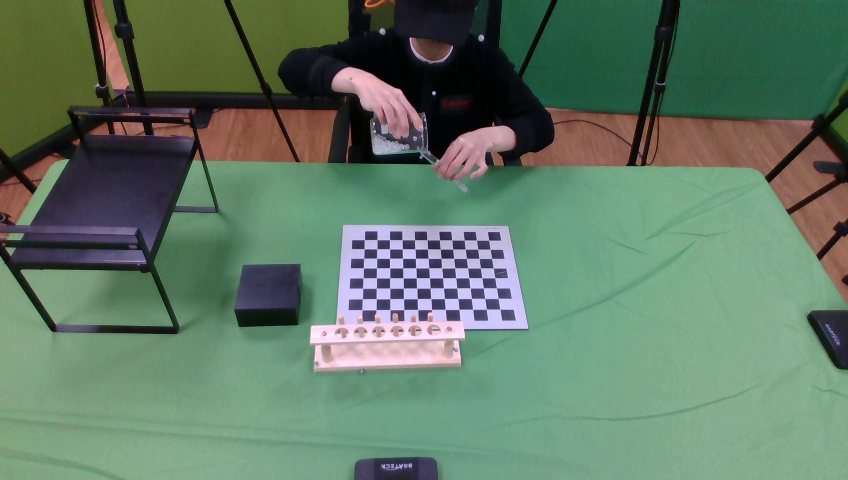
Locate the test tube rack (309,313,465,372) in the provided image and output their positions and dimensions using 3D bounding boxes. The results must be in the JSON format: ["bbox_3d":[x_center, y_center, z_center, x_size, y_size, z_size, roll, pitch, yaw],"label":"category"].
[{"bbox_3d":[-0.059,0.161,0.990,0.242,0.085,0.066,-1,46,-5],"label":"test tube rack"}]

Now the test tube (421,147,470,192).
[{"bbox_3d":[0.045,-0.135,1.177,0.017,0.151,0.017,-23,49,30],"label":"test tube"}]

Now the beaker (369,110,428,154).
[{"bbox_3d":[-0.047,-0.191,1.098,0.100,0.084,0.073,-5,44,-5],"label":"beaker"}]
